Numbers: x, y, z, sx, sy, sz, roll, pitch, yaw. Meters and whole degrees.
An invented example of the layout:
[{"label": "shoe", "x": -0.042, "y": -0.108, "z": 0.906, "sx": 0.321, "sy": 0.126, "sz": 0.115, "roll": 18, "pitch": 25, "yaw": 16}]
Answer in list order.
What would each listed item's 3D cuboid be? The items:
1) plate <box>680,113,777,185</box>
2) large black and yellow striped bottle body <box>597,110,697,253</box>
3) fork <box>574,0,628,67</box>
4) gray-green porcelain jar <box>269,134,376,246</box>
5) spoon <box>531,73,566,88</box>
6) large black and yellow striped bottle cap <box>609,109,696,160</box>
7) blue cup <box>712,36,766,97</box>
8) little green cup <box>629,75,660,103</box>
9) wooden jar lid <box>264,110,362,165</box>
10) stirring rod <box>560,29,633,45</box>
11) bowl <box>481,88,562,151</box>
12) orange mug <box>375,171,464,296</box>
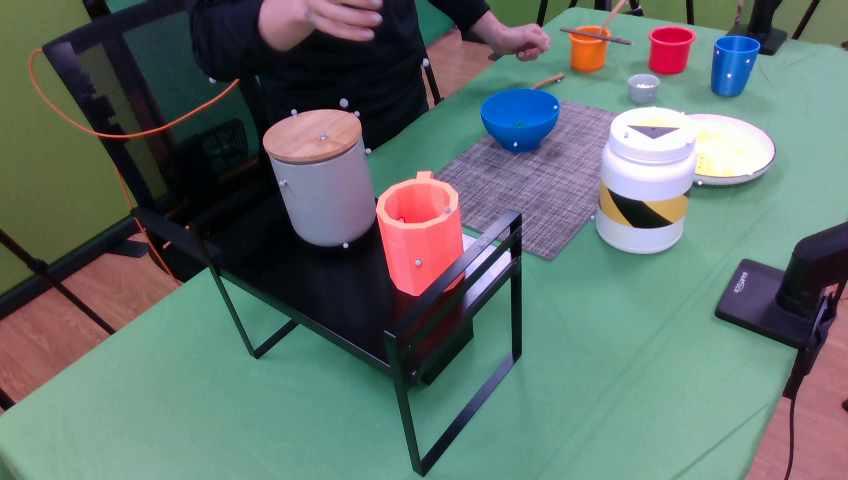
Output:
[{"label": "plate", "x": 0.506, "y": -0.158, "z": 1.073, "sx": 0.209, "sy": 0.038, "sz": 0.208, "roll": -5, "pitch": 40, "yaw": 4}, {"label": "large black and yellow striped bottle body", "x": 0.331, "y": -0.086, "z": 0.904, "sx": 0.131, "sy": 0.185, "sz": 0.130, "roll": -5, "pitch": 41, "yaw": 4}, {"label": "fork", "x": 0.413, "y": -0.481, "z": 1.377, "sx": 0.207, "sy": 0.019, "sz": 0.028, "roll": -56, "pitch": 43, "yaw": 12}, {"label": "gray-green porcelain jar", "x": -0.115, "y": -0.064, "z": 0.715, "sx": 0.106, "sy": 0.127, "sz": 0.105, "roll": -4, "pitch": 40, "yaw": 4}, {"label": "spoon", "x": 0.250, "y": -0.336, "z": 1.332, "sx": 0.194, "sy": 0.022, "sz": 0.041, "roll": -32, "pitch": 33, "yaw": -25}, {"label": "large black and yellow striped bottle cap", "x": 0.319, "y": -0.150, "z": 0.849, "sx": 0.115, "sy": 0.019, "sz": 0.114, "roll": -4, "pitch": 39, "yaw": 3}, {"label": "blue cup", "x": 0.627, "y": -0.350, "z": 1.227, "sx": 0.092, "sy": 0.100, "sz": 0.092, "roll": -4, "pitch": 39, "yaw": 4}, {"label": "little green cup", "x": 0.458, "y": -0.314, "z": 1.260, "sx": 0.061, "sy": 0.039, "sz": 0.061, "roll": -4, "pitch": 40, "yaw": 4}, {"label": "wooden jar lid", "x": -0.122, "y": -0.112, "z": 0.673, "sx": 0.108, "sy": 0.021, "sz": 0.108, "roll": -4, "pitch": 37, "yaw": 4}, {"label": "stirring rod", "x": 0.381, "y": -0.452, "z": 1.345, "sx": 0.174, "sy": 0.006, "sz": 0.014, "roll": 25, "pitch": 49, "yaw": 33}, {"label": "bowl", "x": 0.187, "y": -0.223, "z": 1.162, "sx": 0.151, "sy": 0.077, "sz": 0.150, "roll": -4, "pitch": 40, "yaw": 4}, {"label": "orange mug", "x": -0.001, "y": -0.016, "z": 0.662, "sx": 0.083, "sy": 0.101, "sz": 0.125, "roll": -2, "pitch": 45, "yaw": 8}]
